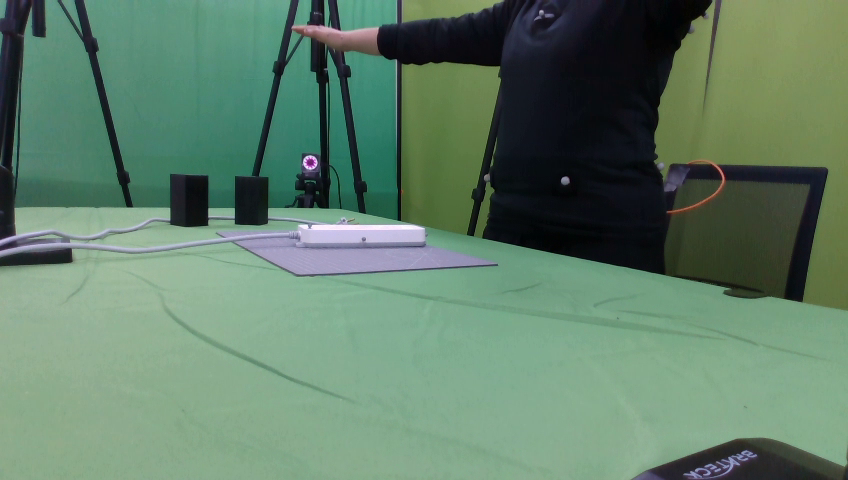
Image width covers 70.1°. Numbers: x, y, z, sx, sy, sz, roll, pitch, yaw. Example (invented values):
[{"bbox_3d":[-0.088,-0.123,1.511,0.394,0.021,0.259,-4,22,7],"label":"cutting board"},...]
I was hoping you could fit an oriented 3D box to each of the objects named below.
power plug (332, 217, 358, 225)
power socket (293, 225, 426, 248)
[{"bbox_3d":[-0.153,-0.030,1.125,0.053,0.035,0.072,-18,24,-13],"label":"power plug"},{"bbox_3d":[-0.104,-0.008,1.003,0.228,0.032,0.072,-1,7,-23],"label":"power socket"}]
